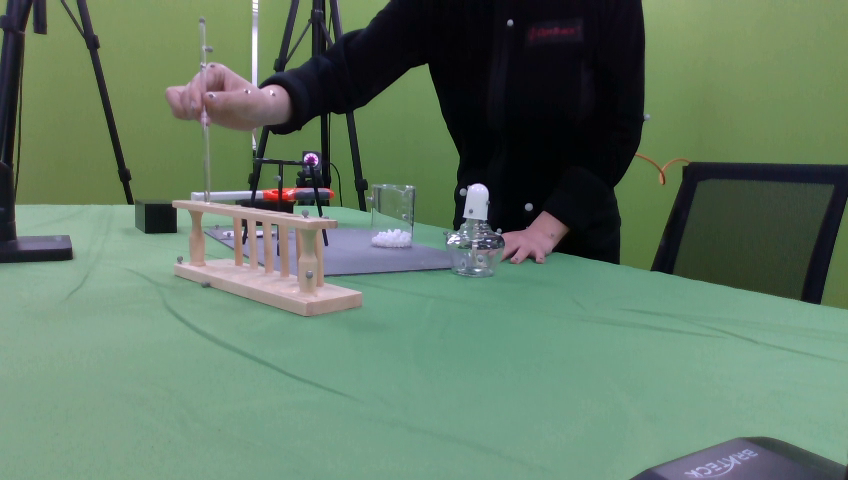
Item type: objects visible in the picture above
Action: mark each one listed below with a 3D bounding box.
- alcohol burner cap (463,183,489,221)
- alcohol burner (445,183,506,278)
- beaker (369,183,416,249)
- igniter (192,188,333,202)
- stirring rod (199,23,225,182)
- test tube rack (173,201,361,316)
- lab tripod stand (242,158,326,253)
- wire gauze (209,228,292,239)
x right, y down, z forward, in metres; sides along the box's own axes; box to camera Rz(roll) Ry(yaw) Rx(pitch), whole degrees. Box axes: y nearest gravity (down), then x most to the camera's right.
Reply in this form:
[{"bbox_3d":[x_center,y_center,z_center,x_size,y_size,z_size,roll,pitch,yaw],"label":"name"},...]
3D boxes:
[{"bbox_3d":[0.067,-0.048,0.765,0.034,0.048,0.034,5,5,0],"label":"alcohol burner cap"},{"bbox_3d":[0.065,-0.012,0.770,0.078,0.119,0.078,0,7,0],"label":"alcohol burner"},{"bbox_3d":[-0.050,-0.039,0.971,0.074,0.100,0.083,-1,9,-25],"label":"beaker"},{"bbox_3d":[-0.316,-0.090,1.213,0.278,0.025,0.057,-5,12,-32],"label":"igniter"},{"bbox_3d":[-0.231,-0.150,0.660,0.006,0.176,0.014,-8,-2,-26],"label":"stirring rod"},{"bbox_3d":[-0.169,0.010,0.622,0.241,0.085,0.067,9,10,41],"label":"test tube rack"},{"bbox_3d":[-0.207,-0.054,0.895,0.148,0.131,0.148,2,5,0],"label":"lab tripod stand"},{"bbox_3d":[-0.298,-0.013,1.039,0.122,0.011,0.124,-2,6,-27],"label":"wire gauze"}]
